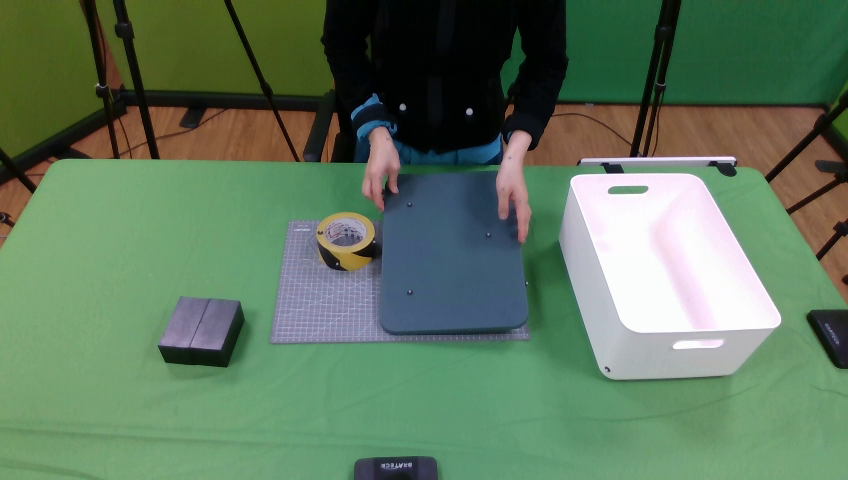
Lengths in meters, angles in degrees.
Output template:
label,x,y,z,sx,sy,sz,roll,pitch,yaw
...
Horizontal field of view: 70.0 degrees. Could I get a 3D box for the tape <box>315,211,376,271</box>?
label,x,y,z,sx,sy,sz,roll,pitch,yaw
tape,-0.150,0.000,1.160,0.117,0.053,0.116,3,46,-3

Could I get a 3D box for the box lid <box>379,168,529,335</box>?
label,x,y,z,sx,sy,sz,roll,pitch,yaw
box lid,0.051,0.010,1.138,0.263,0.015,0.369,-3,54,3

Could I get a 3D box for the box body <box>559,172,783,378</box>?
label,x,y,z,sx,sy,sz,roll,pitch,yaw
box body,0.405,0.057,1.074,0.254,0.161,0.361,-2,46,-5
